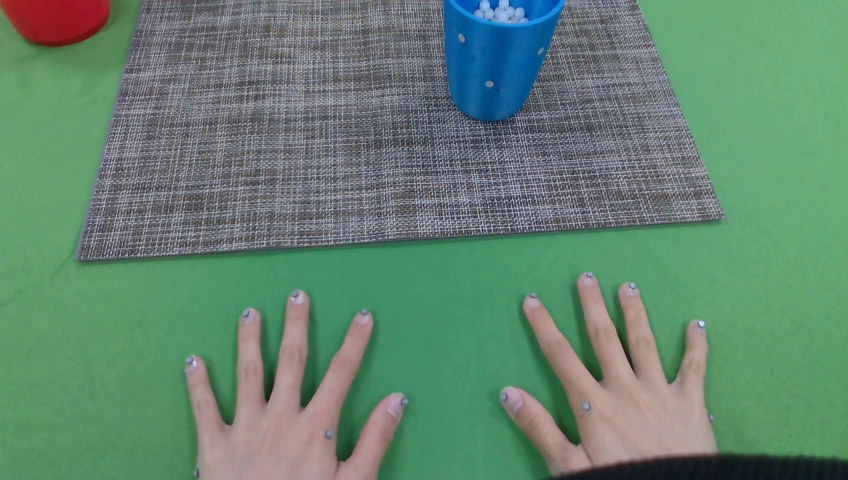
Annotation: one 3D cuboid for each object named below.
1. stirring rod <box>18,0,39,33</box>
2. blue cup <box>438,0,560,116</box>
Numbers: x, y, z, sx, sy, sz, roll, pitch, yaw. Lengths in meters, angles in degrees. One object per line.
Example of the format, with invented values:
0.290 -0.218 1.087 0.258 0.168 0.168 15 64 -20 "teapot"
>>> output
-0.296 -0.249 0.490 0.014 0.006 0.176 40 107 25 "stirring rod"
0.050 -0.148 0.450 0.093 0.101 0.092 1 58 -2 "blue cup"
